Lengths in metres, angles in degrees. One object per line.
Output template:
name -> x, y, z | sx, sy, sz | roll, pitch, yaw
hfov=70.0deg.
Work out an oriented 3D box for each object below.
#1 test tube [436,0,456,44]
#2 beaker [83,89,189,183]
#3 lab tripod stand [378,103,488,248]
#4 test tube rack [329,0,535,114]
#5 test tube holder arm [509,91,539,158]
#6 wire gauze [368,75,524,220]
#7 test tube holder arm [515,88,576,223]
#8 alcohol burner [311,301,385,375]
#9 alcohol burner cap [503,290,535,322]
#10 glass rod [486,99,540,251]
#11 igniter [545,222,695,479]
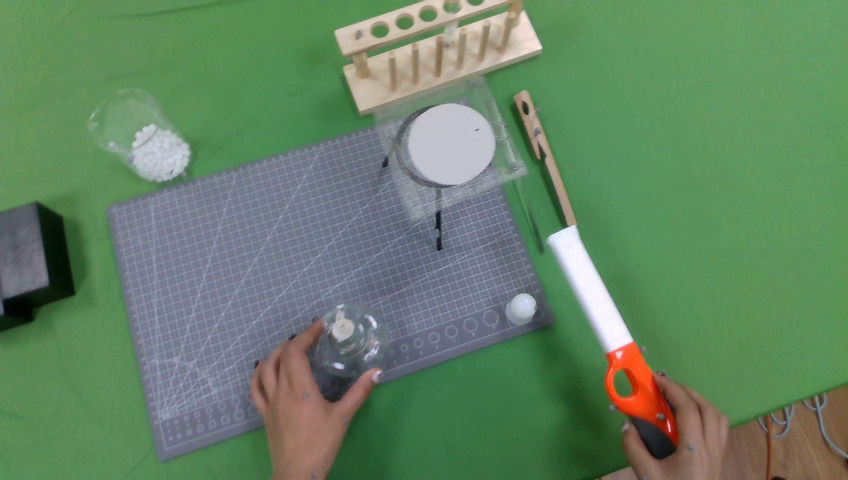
test tube -> 0.029, -0.273, 0.687 | 0.017, 0.151, 0.017 | 2, 71, -5
beaker -> -0.320, -0.112, 0.686 | 0.084, 0.101, 0.073 | -1, 74, 1
lab tripod stand -> 0.009, -0.078, 0.657 | 0.148, 0.132, 0.147 | 0, 75, 2
test tube rack -> 0.016, -0.238, 0.729 | 0.242, 0.085, 0.066 | -21, 75, -6
test tube holder arm -> 0.125, -0.141, 0.739 | 0.010, 0.015, 0.087 | -27, 75, 28
wire gauze -> 0.020, -0.095, 0.592 | 0.121, 0.011, 0.124 | -20, 75, -4
test tube holder arm -> 0.144, -0.102, 0.726 | 0.013, 0.015, 0.177 | -27, 75, 28
alcohol burner -> -0.080, 0.097, 0.619 | 0.078, 0.120, 0.077 | 0, 72, 2
alcohol burner cap -> 0.106, 0.070, 0.664 | 0.034, 0.048, 0.033 | 0, 74, 0
glass rod -> 0.107, -0.080, 0.726 | 0.008, 0.008, 0.198 | -15, 78, -5
igniter -> 0.192, 0.112, 0.596 | 0.057, 0.025, 0.275 | -23, 82, -8
